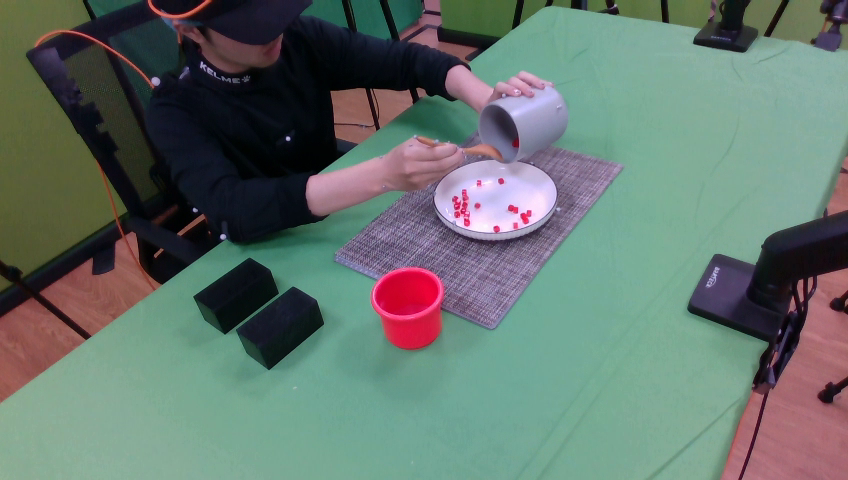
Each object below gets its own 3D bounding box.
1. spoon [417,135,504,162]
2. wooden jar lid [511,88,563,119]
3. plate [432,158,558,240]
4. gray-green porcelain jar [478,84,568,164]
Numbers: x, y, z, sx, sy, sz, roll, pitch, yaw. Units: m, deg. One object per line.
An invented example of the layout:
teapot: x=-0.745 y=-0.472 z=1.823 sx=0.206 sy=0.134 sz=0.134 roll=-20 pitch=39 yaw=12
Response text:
spoon: x=0.060 y=-0.141 z=0.934 sx=0.195 sy=0.021 sz=0.041 roll=-2 pitch=39 yaw=-43
wooden jar lid: x=0.237 y=-0.286 z=1.272 sx=0.108 sy=0.021 sz=0.108 roll=-4 pitch=42 yaw=4
plate: x=0.118 y=-0.066 z=1.012 sx=0.207 sy=0.039 sz=0.206 roll=-4 pitch=41 yaw=4
gray-green porcelain jar: x=0.172 y=-0.200 z=1.023 sx=0.127 sy=0.106 sz=0.105 roll=-28 pitch=44 yaw=-28
